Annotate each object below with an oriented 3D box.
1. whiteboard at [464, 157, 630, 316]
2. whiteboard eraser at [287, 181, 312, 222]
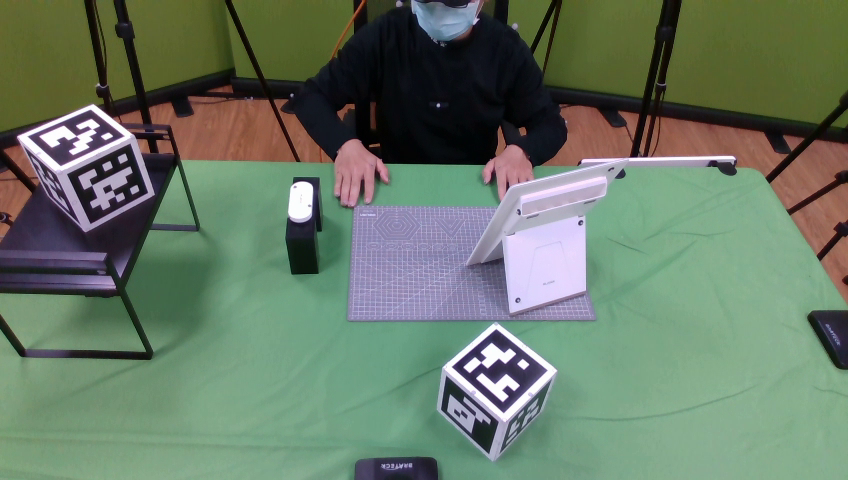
[{"bbox_3d":[0.224,0.014,1.043,0.217,0.306,0.143,-14,68,-17],"label":"whiteboard"},{"bbox_3d":[-0.227,-0.071,1.111,0.041,0.019,0.100,-2,45,-4],"label":"whiteboard eraser"}]
